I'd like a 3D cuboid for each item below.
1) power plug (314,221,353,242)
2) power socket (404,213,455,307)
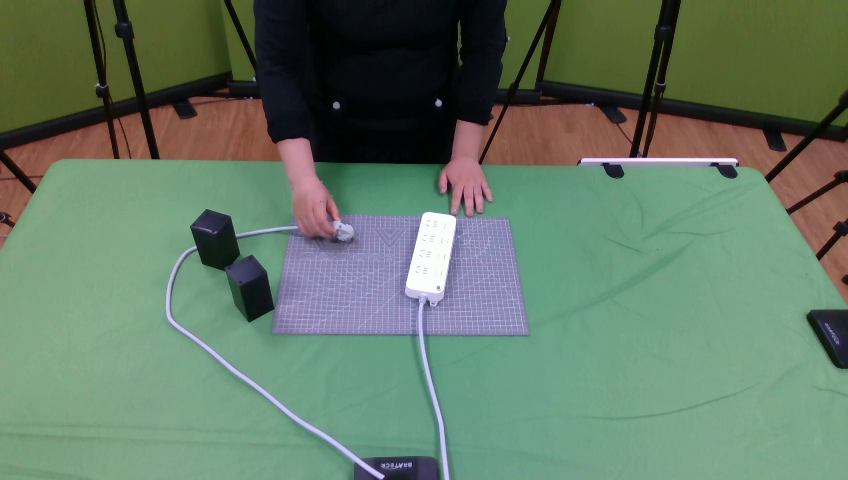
[{"bbox_3d":[-0.171,-0.020,1.184,0.072,0.053,0.035,18,63,30],"label":"power plug"},{"bbox_3d":[0.013,0.029,1.159,0.072,0.033,0.225,8,46,5],"label":"power socket"}]
